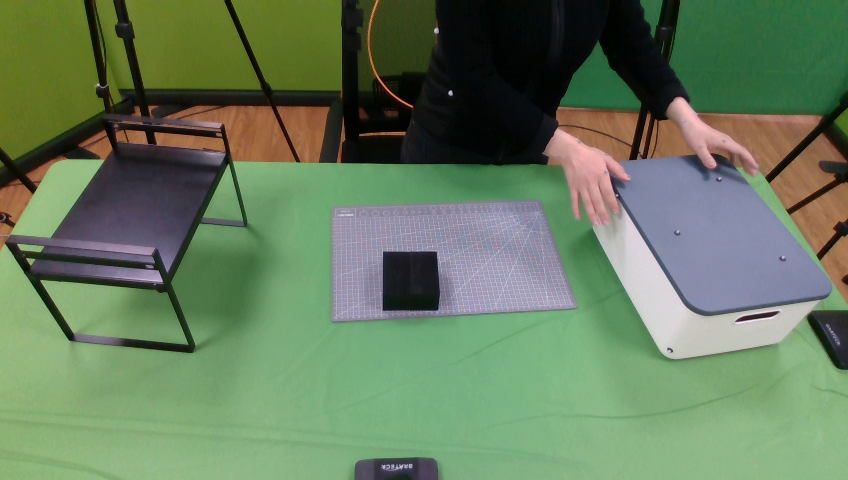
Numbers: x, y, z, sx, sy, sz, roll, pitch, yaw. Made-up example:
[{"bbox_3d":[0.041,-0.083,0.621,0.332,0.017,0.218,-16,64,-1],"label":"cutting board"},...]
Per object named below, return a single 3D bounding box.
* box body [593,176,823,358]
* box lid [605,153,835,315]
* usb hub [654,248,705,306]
[{"bbox_3d":[0.497,0.023,1.112,0.254,0.161,0.361,-7,47,-10],"label":"box body"},{"bbox_3d":[0.499,-0.030,1.060,0.264,0.015,0.369,-6,47,-10],"label":"box lid"},{"bbox_3d":[0.482,0.069,1.150,0.049,0.025,0.124,-1,48,-8],"label":"usb hub"}]
